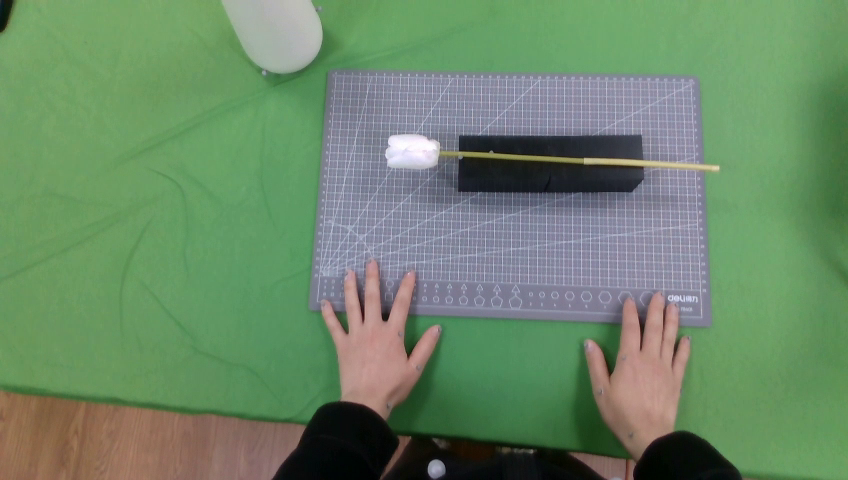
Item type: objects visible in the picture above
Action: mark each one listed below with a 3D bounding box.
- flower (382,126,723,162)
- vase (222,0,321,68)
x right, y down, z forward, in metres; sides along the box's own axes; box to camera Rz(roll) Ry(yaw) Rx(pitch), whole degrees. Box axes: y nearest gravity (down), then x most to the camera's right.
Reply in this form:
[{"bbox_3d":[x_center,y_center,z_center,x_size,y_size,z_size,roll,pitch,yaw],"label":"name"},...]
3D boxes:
[{"bbox_3d":[0.134,-0.097,0.656,0.361,0.038,0.043,4,45,7],"label":"flower"},{"bbox_3d":[-0.178,-0.275,0.666,0.098,0.201,0.097,0,76,2],"label":"vase"}]
